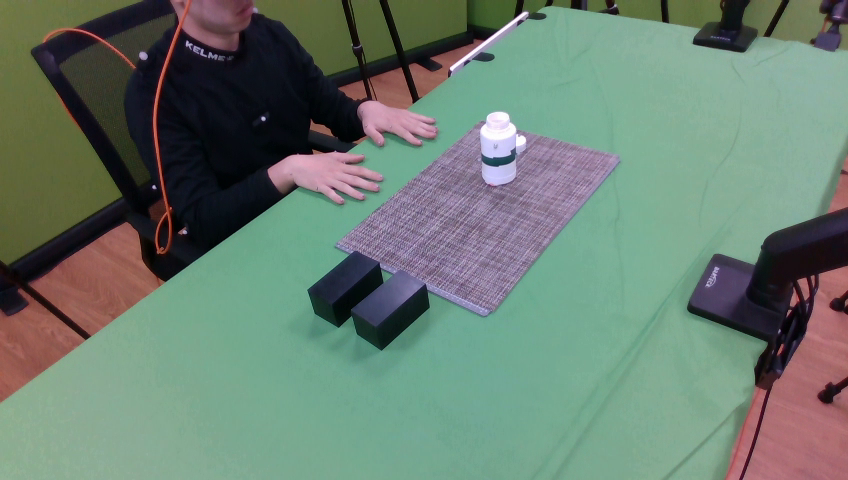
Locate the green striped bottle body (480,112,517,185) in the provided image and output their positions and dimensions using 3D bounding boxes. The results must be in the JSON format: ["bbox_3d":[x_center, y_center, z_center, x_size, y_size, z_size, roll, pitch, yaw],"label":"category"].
[{"bbox_3d":[0.130,-0.162,1.057,0.063,0.120,0.063,-4,40,4],"label":"green striped bottle body"}]

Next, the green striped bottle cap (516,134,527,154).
[{"bbox_3d":[0.175,-0.183,1.158,0.044,0.020,0.044,-5,43,5],"label":"green striped bottle cap"}]
